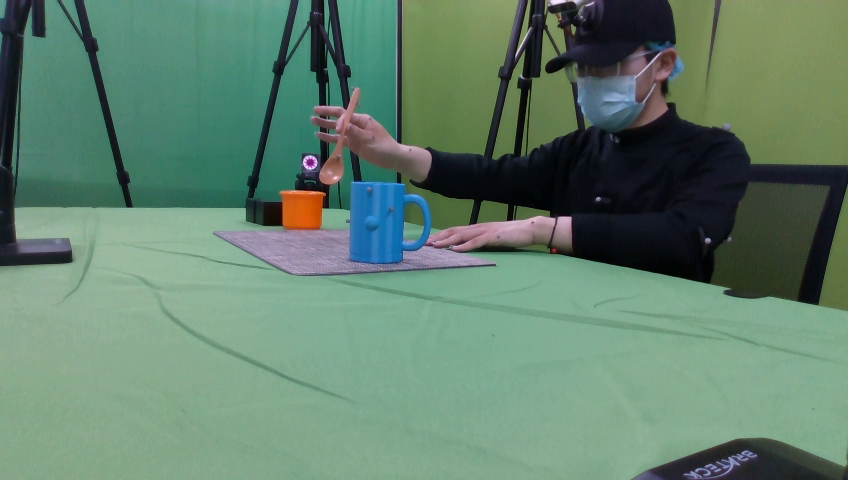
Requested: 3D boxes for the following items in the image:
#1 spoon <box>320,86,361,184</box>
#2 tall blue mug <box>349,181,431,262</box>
[{"bbox_3d":[-0.142,-0.188,1.073,0.041,0.193,0.022,11,-10,19],"label":"spoon"},{"bbox_3d":[-0.051,-0.028,0.849,0.108,0.108,0.077,-1,7,-22],"label":"tall blue mug"}]
